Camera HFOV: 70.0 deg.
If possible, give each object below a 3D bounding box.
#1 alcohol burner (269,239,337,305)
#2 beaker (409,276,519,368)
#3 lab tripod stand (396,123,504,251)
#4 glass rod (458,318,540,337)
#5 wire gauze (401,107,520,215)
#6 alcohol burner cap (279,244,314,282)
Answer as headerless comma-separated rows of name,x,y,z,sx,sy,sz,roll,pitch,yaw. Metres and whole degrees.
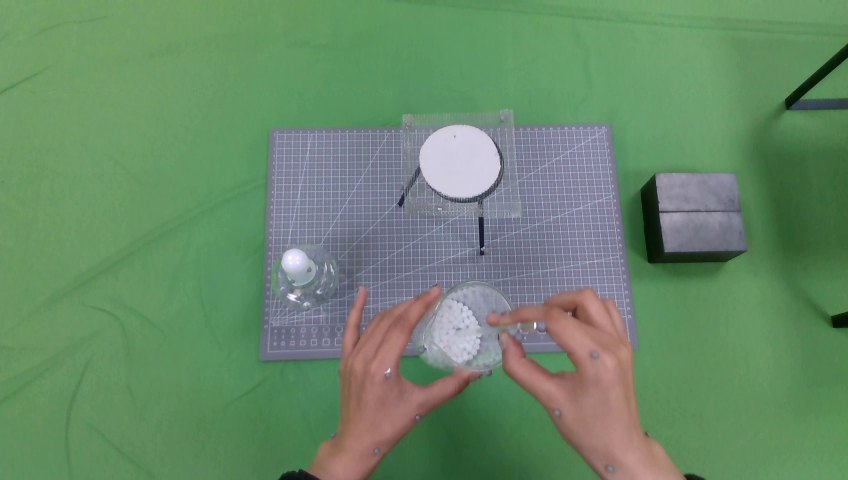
alcohol burner,-0.138,0.033,0.682,0.078,0.119,0.077,1,75,-2
beaker,0.027,0.078,0.537,0.084,0.100,0.073,-11,80,-16
lab tripod stand,0.039,-0.070,0.708,0.148,0.132,0.147,0,72,-1
glass rod,0.053,0.072,0.483,0.008,0.200,0.008,2,79,-11
wire gauze,0.038,-0.085,0.642,0.125,0.011,0.121,0,74,-2
alcohol burner cap,-0.138,0.023,0.647,0.034,0.048,0.033,0,68,1
